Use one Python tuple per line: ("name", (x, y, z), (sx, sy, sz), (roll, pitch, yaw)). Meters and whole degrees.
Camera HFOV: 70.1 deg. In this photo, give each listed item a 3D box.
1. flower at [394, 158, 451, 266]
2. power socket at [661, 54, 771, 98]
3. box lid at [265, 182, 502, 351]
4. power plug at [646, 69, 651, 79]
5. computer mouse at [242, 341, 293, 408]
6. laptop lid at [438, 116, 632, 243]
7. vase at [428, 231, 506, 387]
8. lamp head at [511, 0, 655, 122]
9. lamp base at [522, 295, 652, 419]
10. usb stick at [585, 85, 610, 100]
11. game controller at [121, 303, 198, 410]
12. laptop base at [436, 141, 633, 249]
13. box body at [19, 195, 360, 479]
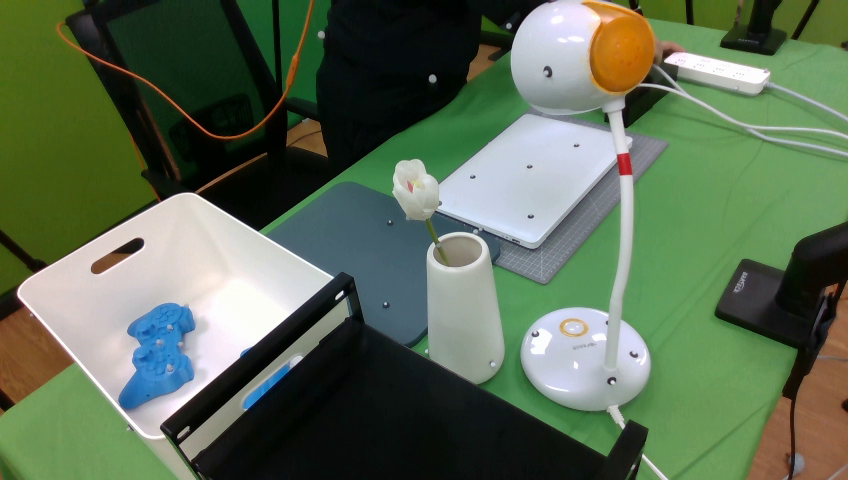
("flower", (0.028, 0.035, 0.664), (0.043, 0.364, 0.038), (36, 73, 30))
("power socket", (0.617, -0.353, 1.290), (0.225, 0.033, 0.072), (27, 52, 34))
("box lid", (-0.087, 0.023, 0.971), (0.368, 0.015, 0.264), (23, 49, 31))
("power plug", (0.450, -0.359, 1.259), (0.035, 0.053, 0.072), (8, 77, 4))
("computer mouse", (-0.200, 0.177, 0.776), (0.063, 0.041, 0.116), (-11, 43, -8))
("laptop lid", (0.190, -0.126, 1.081), (0.239, 0.013, 0.358), (23, 48, 35))
("vase", (0.050, 0.087, 0.728), (0.098, 0.201, 0.097), (-3, 40, 3))
("lamp head", (0.155, -0.168, 0.563), (0.113, 0.113, 0.122), (-18, 23, -12))
("lamp base", (0.201, 0.095, 0.710), (0.161, 0.181, 0.178), (-16, 43, -10))
("usb stick", (0.355, -0.305, 1.253), (0.027, 0.021, 0.058), (-2, 1, -39))
("game controller", (-0.364, 0.149, 0.828), (0.097, 0.052, 0.154), (-13, 41, -9))
("laptop base", (0.193, -0.116, 1.087), (0.233, 0.023, 0.355), (21, 47, 34))
("box body", (-0.288, 0.118, 0.772), (0.361, 0.161, 0.255), (26, 50, 33))
